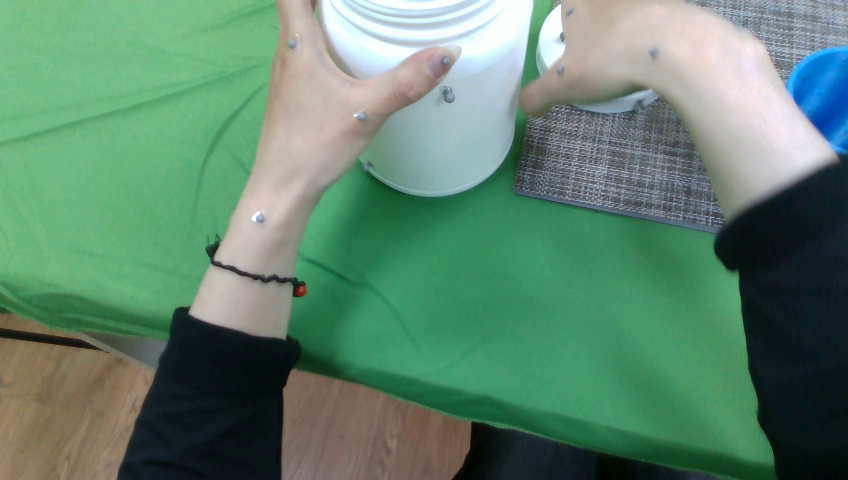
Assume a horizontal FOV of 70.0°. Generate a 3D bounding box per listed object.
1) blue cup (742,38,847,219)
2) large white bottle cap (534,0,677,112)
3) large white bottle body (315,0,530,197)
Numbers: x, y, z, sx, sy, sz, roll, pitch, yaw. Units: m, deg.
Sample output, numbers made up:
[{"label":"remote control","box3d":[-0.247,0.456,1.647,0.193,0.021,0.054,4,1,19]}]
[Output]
[{"label":"blue cup","box3d":[0.265,-0.063,0.408,0.092,0.101,0.092,-2,64,4]},{"label":"large white bottle cap","box3d":[0.150,-0.157,0.501,0.115,0.018,0.114,-1,66,2]},{"label":"large white bottle body","box3d":[0.001,-0.126,0.408,0.130,0.186,0.129,-1,65,2]}]
